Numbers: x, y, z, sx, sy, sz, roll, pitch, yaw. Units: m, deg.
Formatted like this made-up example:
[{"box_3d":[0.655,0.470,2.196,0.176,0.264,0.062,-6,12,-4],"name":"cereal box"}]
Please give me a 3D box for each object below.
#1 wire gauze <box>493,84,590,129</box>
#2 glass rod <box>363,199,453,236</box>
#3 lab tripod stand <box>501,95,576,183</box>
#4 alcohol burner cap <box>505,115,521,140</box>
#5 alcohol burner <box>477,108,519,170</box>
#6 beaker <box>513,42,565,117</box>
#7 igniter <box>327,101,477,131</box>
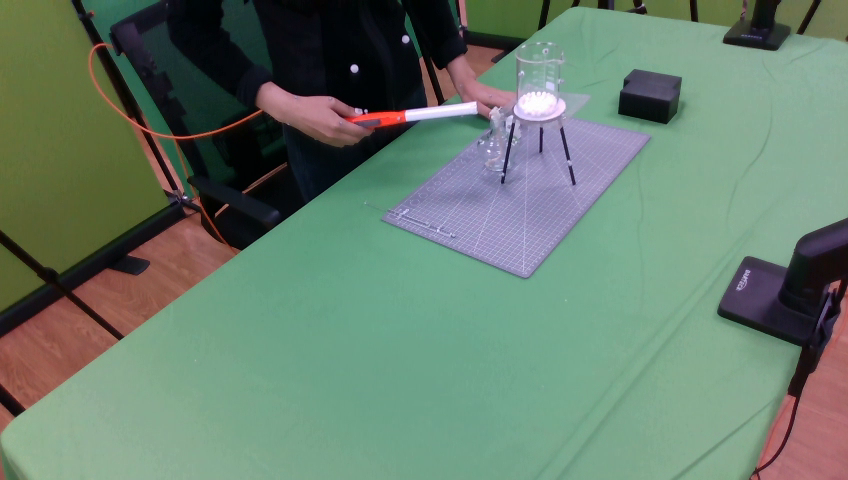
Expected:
[{"box_3d":[0.197,-0.223,1.013,0.120,0.011,0.125,21,47,28],"name":"wire gauze"},{"box_3d":[-0.031,-0.041,1.041,0.198,0.008,0.008,22,50,31],"name":"glass rod"},{"box_3d":[0.204,-0.174,1.057,0.148,0.132,0.147,-4,40,4],"name":"lab tripod stand"},{"box_3d":[0.175,-0.224,1.193,0.034,0.048,0.033,-6,40,5],"name":"alcohol burner cap"},{"box_3d":[0.135,-0.188,1.102,0.078,0.119,0.077,-4,41,4],"name":"alcohol burner"},{"box_3d":[0.187,-0.257,0.981,0.083,0.101,0.074,21,49,29],"name":"beaker"},{"box_3d":[-0.043,-0.222,1.082,0.276,0.025,0.057,-5,24,8],"name":"igniter"}]
